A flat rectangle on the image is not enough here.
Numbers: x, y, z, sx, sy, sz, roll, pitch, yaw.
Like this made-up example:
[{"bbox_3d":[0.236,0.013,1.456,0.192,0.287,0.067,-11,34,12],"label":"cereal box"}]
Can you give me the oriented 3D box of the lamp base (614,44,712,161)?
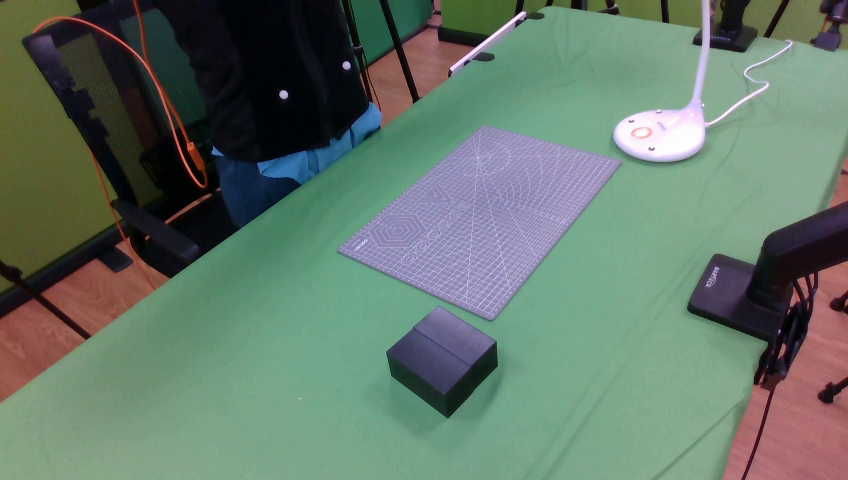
[{"bbox_3d":[0.441,-0.257,1.081,0.180,0.181,0.159,-15,41,-12],"label":"lamp base"}]
